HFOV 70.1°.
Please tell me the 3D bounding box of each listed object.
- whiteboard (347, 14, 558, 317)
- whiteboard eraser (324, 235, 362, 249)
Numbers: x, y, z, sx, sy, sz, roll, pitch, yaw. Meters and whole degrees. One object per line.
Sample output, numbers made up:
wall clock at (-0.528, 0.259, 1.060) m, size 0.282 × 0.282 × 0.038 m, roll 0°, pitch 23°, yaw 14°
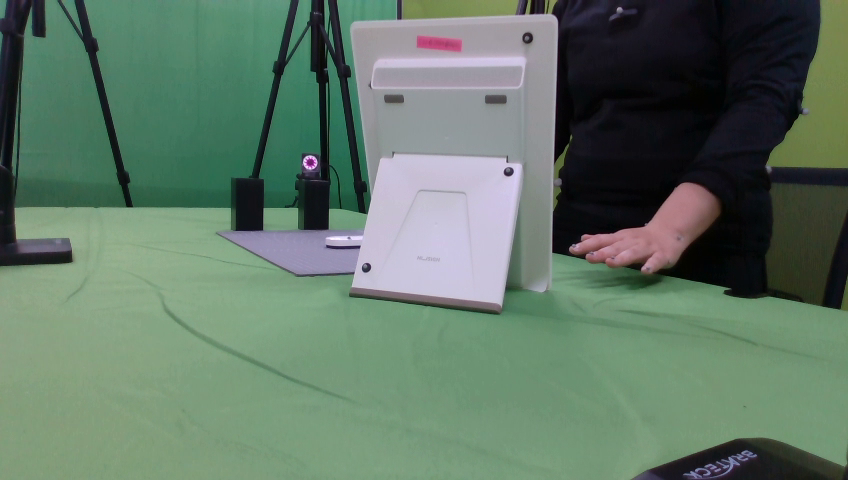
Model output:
whiteboard at (0.012, -0.056, 0.609) m, size 0.216 × 0.305 × 0.144 m, roll 5°, pitch 27°, yaw 19°
whiteboard eraser at (-0.112, 0.002, 0.974) m, size 0.102 × 0.019 × 0.041 m, roll -1°, pitch 7°, yaw -32°
